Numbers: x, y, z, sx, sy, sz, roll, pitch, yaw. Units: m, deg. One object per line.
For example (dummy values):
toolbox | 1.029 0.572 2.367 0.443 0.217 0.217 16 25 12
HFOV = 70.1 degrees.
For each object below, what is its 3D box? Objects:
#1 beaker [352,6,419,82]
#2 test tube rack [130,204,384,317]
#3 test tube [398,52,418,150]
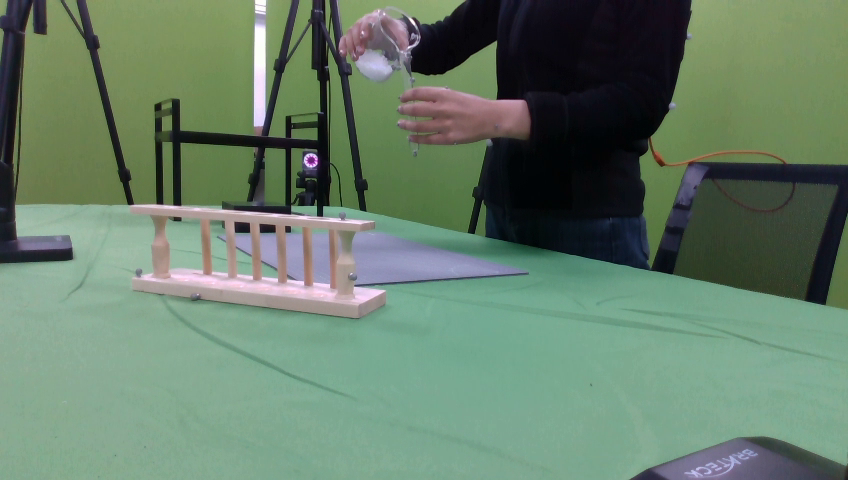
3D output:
beaker | -0.064 -0.306 0.967 0.074 0.083 0.100 4 -25 -32
test tube rack | -0.163 0.013 0.589 0.242 0.085 0.067 5 8 17
test tube | -0.024 -0.209 0.911 0.017 0.150 0.017 -6 -3 0
